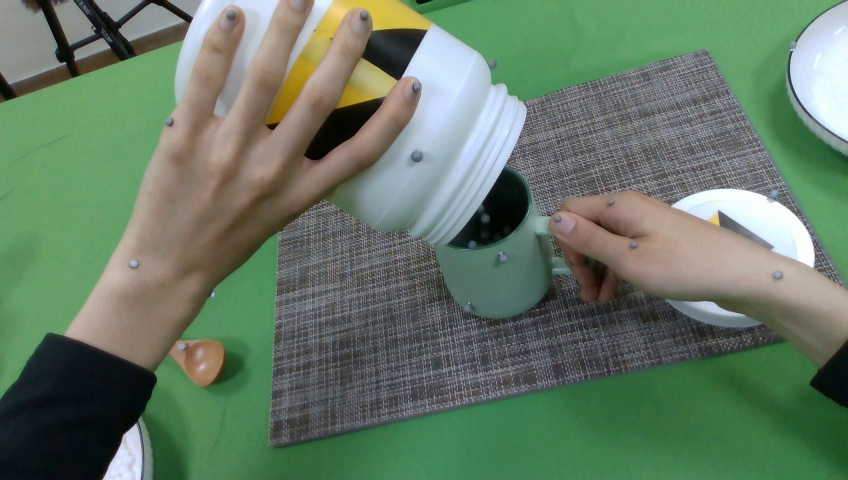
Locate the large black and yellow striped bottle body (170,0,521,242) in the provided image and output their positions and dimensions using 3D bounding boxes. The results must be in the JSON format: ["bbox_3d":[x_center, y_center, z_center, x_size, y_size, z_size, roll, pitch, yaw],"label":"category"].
[{"bbox_3d":[-0.044,-0.089,0.383,0.184,0.131,0.130,30,66,-10],"label":"large black and yellow striped bottle body"}]

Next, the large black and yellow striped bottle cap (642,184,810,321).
[{"bbox_3d":[0.228,0.007,0.463,0.115,0.019,0.114,-9,55,14],"label":"large black and yellow striped bottle cap"}]

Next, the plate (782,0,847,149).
[{"bbox_3d":[0.404,-0.135,0.489,0.207,0.039,0.205,-9,56,13],"label":"plate"}]

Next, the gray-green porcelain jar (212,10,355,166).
[{"bbox_3d":[-0.135,-0.147,0.617,0.105,0.128,0.105,-10,51,13],"label":"gray-green porcelain jar"}]

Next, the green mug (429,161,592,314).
[{"bbox_3d":[0.065,0.000,0.466,0.125,0.106,0.092,3,59,20],"label":"green mug"}]

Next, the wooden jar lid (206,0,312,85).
[{"bbox_3d":[-0.152,-0.185,0.569,0.108,0.021,0.107,-11,54,16],"label":"wooden jar lid"}]

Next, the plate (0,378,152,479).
[{"bbox_3d":[-0.312,0.217,0.495,0.209,0.038,0.207,-8,56,13],"label":"plate"}]

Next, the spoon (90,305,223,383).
[{"bbox_3d":[-0.256,0.089,0.570,0.192,0.022,0.041,15,79,26],"label":"spoon"}]
